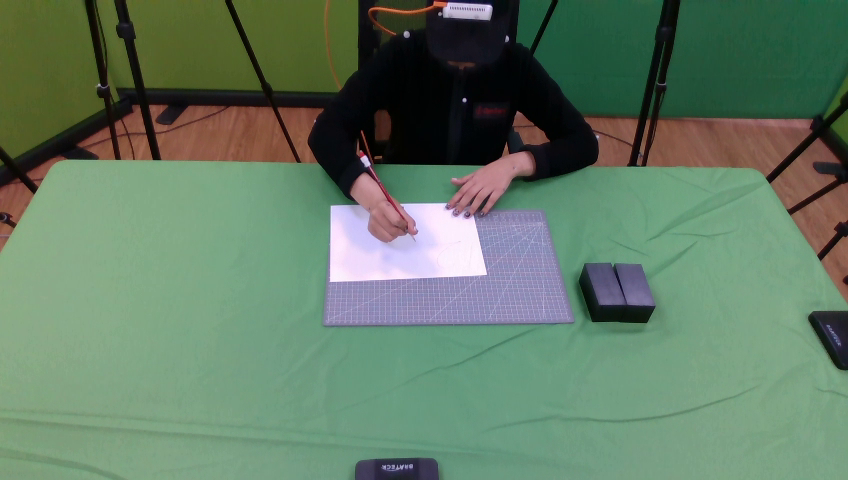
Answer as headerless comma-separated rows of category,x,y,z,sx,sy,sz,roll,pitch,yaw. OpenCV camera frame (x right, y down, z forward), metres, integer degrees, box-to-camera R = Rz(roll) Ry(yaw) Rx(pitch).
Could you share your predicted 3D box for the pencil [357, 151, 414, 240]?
pencil,-0.069,-0.080,1.125,0.012,0.012,0.194,-39,102,-33
